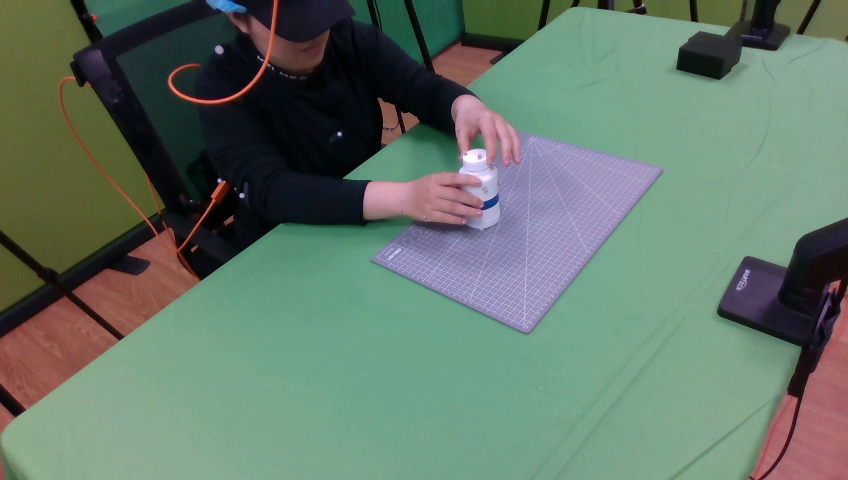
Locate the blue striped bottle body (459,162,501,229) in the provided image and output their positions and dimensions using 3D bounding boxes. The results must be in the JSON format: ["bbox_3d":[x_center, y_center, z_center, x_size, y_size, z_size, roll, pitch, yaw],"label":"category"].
[{"bbox_3d":[0.091,-0.083,0.982,0.063,0.121,0.063,-6,40,5],"label":"blue striped bottle body"}]

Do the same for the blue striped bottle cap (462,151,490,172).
[{"bbox_3d":[0.082,-0.124,0.946,0.044,0.021,0.044,-2,31,2],"label":"blue striped bottle cap"}]
